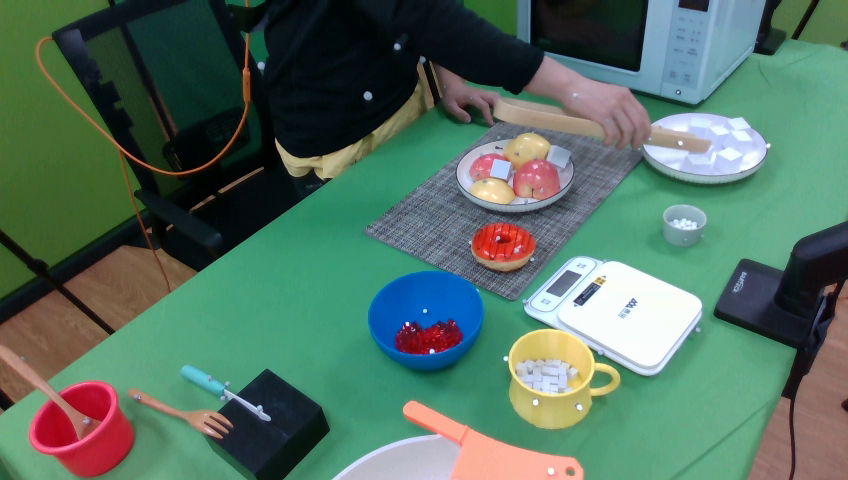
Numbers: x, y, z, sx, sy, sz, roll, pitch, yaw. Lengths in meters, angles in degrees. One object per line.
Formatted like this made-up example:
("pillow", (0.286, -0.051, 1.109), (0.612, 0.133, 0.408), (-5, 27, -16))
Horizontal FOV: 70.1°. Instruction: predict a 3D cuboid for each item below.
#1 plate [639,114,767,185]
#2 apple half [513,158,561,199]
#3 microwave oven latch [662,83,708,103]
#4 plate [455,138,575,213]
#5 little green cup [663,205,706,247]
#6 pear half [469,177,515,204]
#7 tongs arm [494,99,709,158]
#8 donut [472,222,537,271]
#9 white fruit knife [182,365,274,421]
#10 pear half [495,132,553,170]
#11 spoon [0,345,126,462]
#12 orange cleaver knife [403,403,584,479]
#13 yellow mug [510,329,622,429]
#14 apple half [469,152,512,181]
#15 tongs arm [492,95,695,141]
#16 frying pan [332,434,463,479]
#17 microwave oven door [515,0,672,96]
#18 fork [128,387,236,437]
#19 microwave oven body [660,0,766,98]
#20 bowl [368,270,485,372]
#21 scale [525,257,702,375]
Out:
("plate", (0.489, -0.157, 1.074), (0.207, 0.039, 0.206), (-4, 40, 4))
("apple half", (0.193, -0.111, 1.031), (0.080, 0.053, 0.075), (11, 41, 26))
("microwave oven latch", (0.518, -0.296, 1.204), (0.078, 0.029, 0.030), (28, 52, 35))
("plate", (0.159, -0.111, 1.063), (0.209, 0.038, 0.208), (-4, 40, 4))
("little green cup", (0.396, -0.020, 0.926), (0.061, 0.039, 0.061), (-4, 40, 4))
("pear half", (0.115, -0.090, 1.035), (0.087, 0.031, 0.071), (29, 39, 31))
("tongs arm", (0.295, -0.174, 0.965), (0.390, 0.028, 0.028), (7, 30, -18))
("donut", (0.123, 0.009, 0.923), (0.099, 0.048, 0.098), (-4, 38, 3))
("white fruit knife", (-0.245, 0.188, 0.747), (0.205, 0.027, 0.016), (9, 41, 41))
("pear half", (0.174, -0.167, 1.094), (0.109, 0.056, 0.076), (15, 54, 30))
("spoon", (-0.434, 0.192, 0.720), (0.194, 0.021, 0.042), (47, 53, -6))
("orange cleaver knife", (0.062, 0.223, 0.610), (0.210, 0.012, 0.077), (15, 47, 25))
("yellow mug", (0.168, 0.164, 0.721), (0.130, 0.064, 0.099), (0, 40, 8))
("apple half", (0.120, -0.139, 1.088), (0.081, 0.033, 0.081), (0, 44, 1))
("tongs arm", (0.289, -0.187, 0.988), (0.387, 0.026, 0.050), (9, 26, -15))
("frying pan", (-0.089, 0.306, 0.564), (0.487, 0.103, 0.306), (10, 41, 7))
("microwave oven door", (0.344, -0.455, 1.259), (0.353, 0.245, 0.039), (26, 51, 33))
("fork", (-0.305, 0.207, 0.744), (0.206, 0.019, 0.028), (3, 41, 36))
("microwave oven body", (0.472, -0.513, 1.317), (0.438, 0.261, 0.327), (26, 51, 34))
("bowl", (0.007, 0.118, 0.791), (0.151, 0.077, 0.150), (-5, 40, 4))
("scale", (0.254, 0.091, 0.821), (0.199, 0.032, 0.149), (27, 51, 35))
